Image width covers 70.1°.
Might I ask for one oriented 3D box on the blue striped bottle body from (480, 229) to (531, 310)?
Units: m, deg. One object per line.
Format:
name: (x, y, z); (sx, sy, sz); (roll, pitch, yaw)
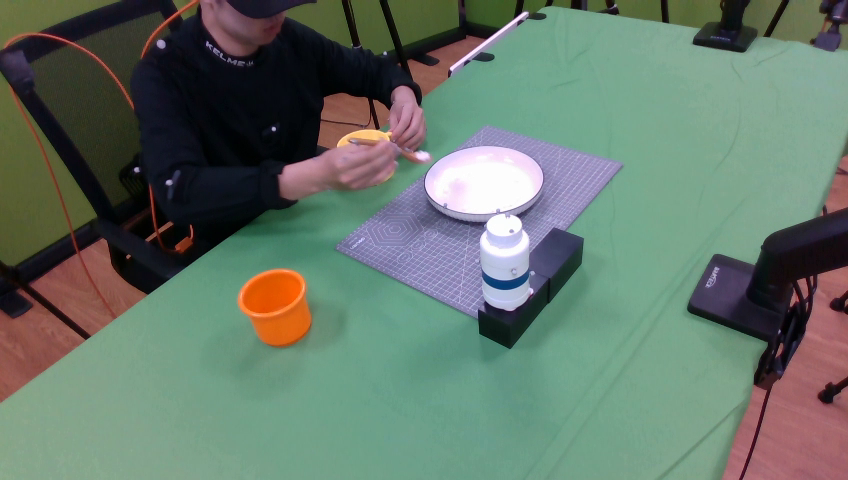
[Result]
blue striped bottle body: (0.104, 0.027, 0.769); (0.063, 0.121, 0.063); (-4, 40, 4)

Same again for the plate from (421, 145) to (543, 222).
plate: (0.101, -0.094, 1.048); (0.207, 0.039, 0.206); (-4, 41, 4)

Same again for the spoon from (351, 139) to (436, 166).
spoon: (-0.046, -0.140, 0.951); (0.041, 0.021, 0.195); (32, 13, 34)

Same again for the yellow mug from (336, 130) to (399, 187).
yellow mug: (-0.098, -0.161, 1.138); (0.131, 0.064, 0.099); (-34, 47, -29)

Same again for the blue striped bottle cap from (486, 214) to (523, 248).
blue striped bottle cap: (0.098, -0.011, 0.735); (0.044, 0.021, 0.044); (-3, 38, 3)
